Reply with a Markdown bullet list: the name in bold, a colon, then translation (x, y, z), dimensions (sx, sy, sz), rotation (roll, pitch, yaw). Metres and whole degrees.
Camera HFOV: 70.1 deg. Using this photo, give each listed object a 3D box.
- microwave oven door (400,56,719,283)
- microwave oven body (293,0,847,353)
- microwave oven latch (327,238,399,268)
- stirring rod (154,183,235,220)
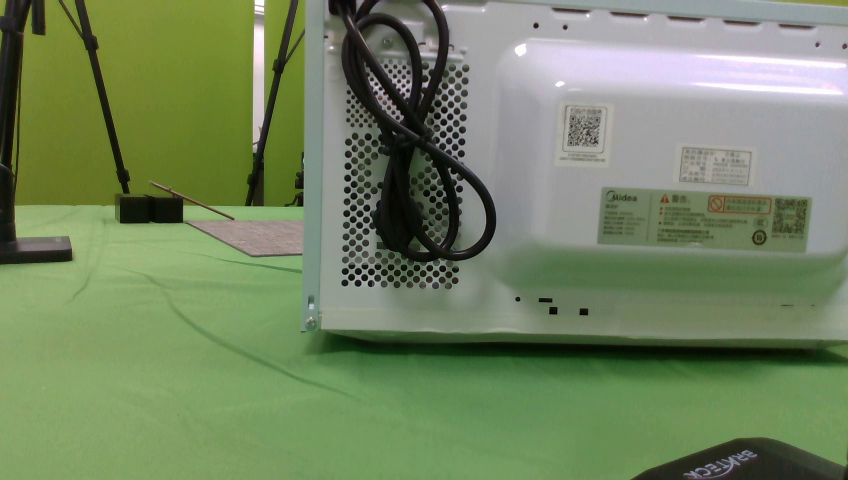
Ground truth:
- **microwave oven door**: translation (0.155, -0.077, 0.698), dimensions (0.356, 0.243, 0.039), rotation (2, 8, -5)
- **microwave oven body**: translation (0.122, -0.055, 0.550), dimensions (0.442, 0.260, 0.325), rotation (3, 7, -5)
- **microwave oven latch**: translation (-0.069, 0.015, 0.694), dimensions (0.079, 0.029, 0.030), rotation (3, 7, -2)
- **stirring rod**: translation (-0.472, -0.079, 1.252), dimensions (0.177, 0.006, 0.014), rotation (27, 3, -35)
